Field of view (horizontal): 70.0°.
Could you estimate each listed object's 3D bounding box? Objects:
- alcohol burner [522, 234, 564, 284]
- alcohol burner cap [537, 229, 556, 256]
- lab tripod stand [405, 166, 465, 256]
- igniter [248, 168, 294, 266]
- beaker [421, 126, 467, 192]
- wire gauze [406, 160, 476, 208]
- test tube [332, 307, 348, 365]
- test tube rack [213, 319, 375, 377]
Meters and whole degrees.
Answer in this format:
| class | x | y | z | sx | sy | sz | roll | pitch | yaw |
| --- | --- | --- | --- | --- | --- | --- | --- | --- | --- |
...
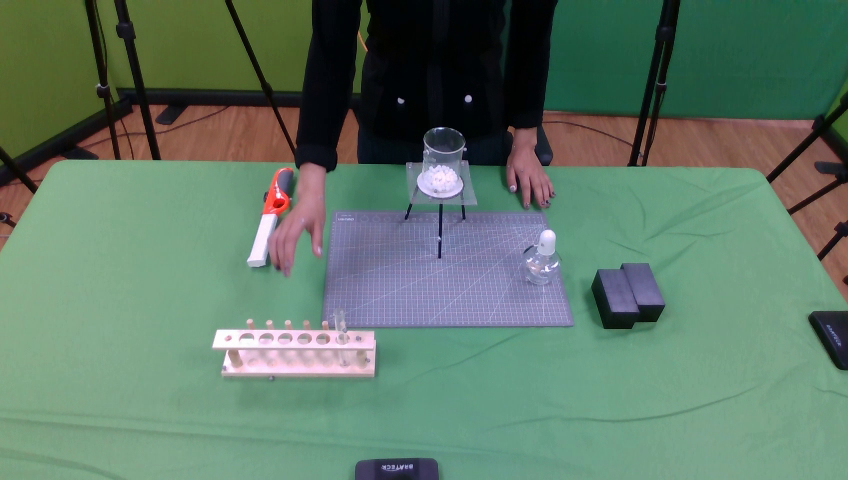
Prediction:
| class | x | y | z | sx | sy | sz | roll | pitch | yaw |
| --- | --- | --- | --- | --- | --- | --- | --- | --- | --- |
| alcohol burner | 0.223 | 0.027 | 1.120 | 0.078 | 0.119 | 0.077 | 2 | 48 | -2 |
| alcohol burner cap | 0.223 | 0.001 | 1.095 | 0.034 | 0.048 | 0.033 | -1 | 44 | 1 |
| lab tripod stand | 0.030 | -0.063 | 1.180 | 0.148 | 0.132 | 0.147 | 3 | 47 | -3 |
| igniter | -0.307 | -0.055 | 1.225 | 0.057 | 0.025 | 0.275 | -3 | 46 | 6 |
| beaker | 0.032 | -0.146 | 1.100 | 0.074 | 0.101 | 0.083 | -17 | 50 | -20 |
| wire gauze | 0.031 | -0.107 | 1.130 | 0.125 | 0.011 | 0.120 | 1 | 48 | -7 |
| test tube | -0.128 | 0.151 | 0.931 | 0.017 | 0.151 | 0.017 | 1 | 50 | -1 |
| test tube rack | -0.202 | 0.170 | 0.977 | 0.242 | 0.085 | 0.066 | 1 | 46 | -3 |
